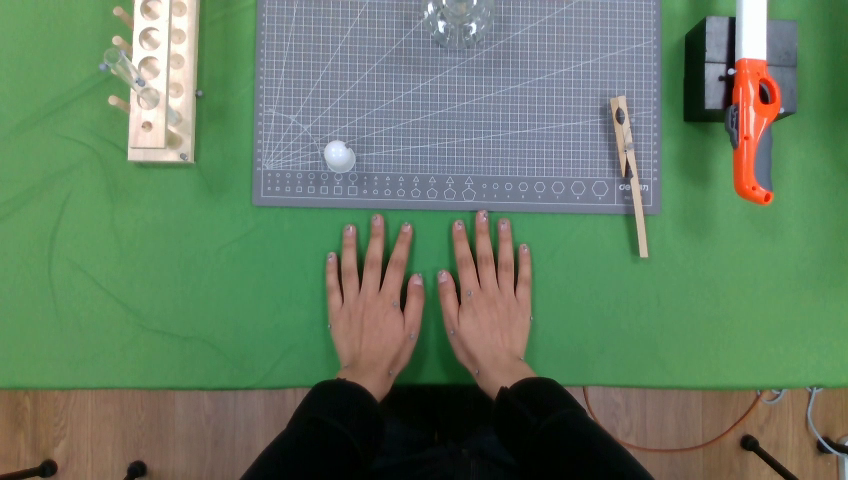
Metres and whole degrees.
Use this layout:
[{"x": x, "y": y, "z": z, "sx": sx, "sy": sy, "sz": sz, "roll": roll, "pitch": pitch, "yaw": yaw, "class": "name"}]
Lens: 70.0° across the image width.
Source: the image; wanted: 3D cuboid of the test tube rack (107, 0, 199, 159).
[{"x": -0.280, "y": -0.211, "z": 0.620, "sx": 0.067, "sy": 0.085, "sz": 0.242, "roll": 1, "pitch": 88, "yaw": -2, "class": "test tube rack"}]

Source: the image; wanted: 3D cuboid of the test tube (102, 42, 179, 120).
[{"x": -0.261, "y": -0.144, "z": 0.570, "sx": 0.017, "sy": 0.150, "sz": 0.017, "roll": 1, "pitch": 81, "yaw": -4, "class": "test tube"}]

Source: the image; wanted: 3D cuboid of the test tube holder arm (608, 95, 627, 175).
[{"x": 0.215, "y": -0.115, "z": 0.669, "sx": 0.010, "sy": 0.015, "sz": 0.088, "roll": -9, "pitch": 91, "yaw": 20, "class": "test tube holder arm"}]

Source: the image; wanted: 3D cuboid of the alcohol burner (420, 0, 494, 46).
[{"x": 0.035, "y": -0.246, "z": 0.619, "sx": 0.078, "sy": 0.119, "sz": 0.078, "roll": 0, "pitch": 88, "yaw": 0, "class": "alcohol burner"}]

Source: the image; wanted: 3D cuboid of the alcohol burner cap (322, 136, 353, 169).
[{"x": -0.094, "y": -0.095, "z": 0.643, "sx": 0.034, "sy": 0.048, "sz": 0.034, "roll": 0, "pitch": 87, "yaw": -4, "class": "alcohol burner cap"}]

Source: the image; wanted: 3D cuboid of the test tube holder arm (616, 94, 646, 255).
[{"x": 0.228, "y": -0.072, "z": 0.668, "sx": 0.013, "sy": 0.015, "sz": 0.178, "roll": -10, "pitch": 91, "yaw": 20, "class": "test tube holder arm"}]

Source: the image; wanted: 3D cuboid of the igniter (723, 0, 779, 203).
[{"x": 0.339, "y": -0.175, "z": 0.628, "sx": 0.057, "sy": 0.025, "sz": 0.276, "roll": 3, "pitch": 85, "yaw": -5, "class": "igniter"}]
